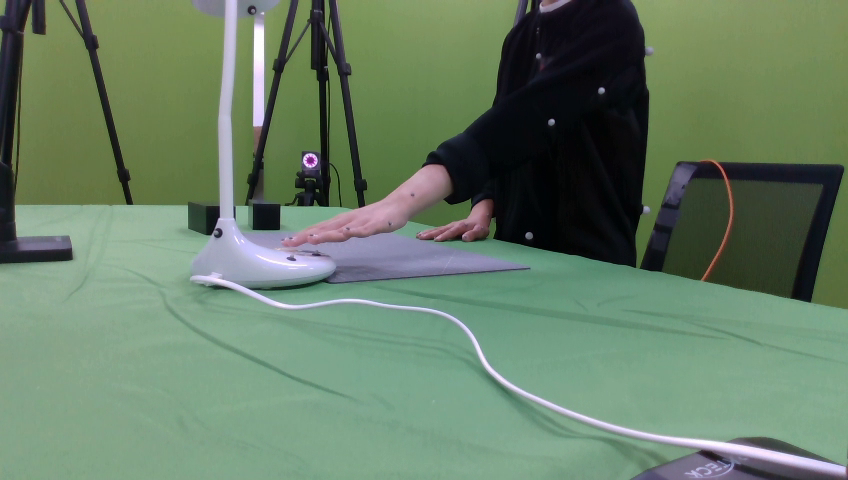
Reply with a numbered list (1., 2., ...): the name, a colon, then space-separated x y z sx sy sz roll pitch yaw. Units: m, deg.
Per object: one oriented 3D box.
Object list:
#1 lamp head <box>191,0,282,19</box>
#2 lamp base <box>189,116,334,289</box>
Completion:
1. lamp head: -0.222 -0.330 0.689 0.112 0.112 0.123 3 -33 -4
2. lamp base: -0.185 -0.044 0.669 0.160 0.180 0.179 3 10 14
